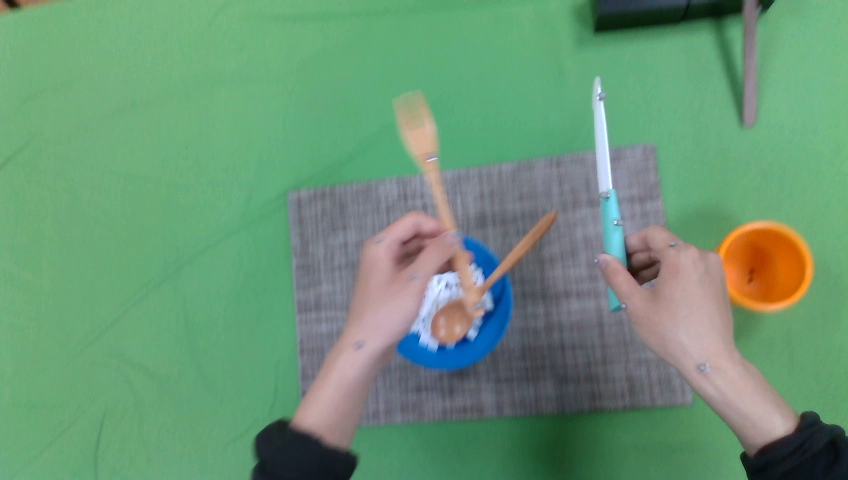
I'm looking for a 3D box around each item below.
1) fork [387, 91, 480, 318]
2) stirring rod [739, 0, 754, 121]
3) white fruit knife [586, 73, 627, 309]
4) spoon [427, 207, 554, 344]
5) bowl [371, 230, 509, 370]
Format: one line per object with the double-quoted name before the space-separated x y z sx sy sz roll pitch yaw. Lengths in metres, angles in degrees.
"fork" 0.010 -0.032 0.516 0.028 0.019 0.206 -17 78 -10
"stirring rod" 0.361 -0.223 0.676 0.014 0.006 0.177 -5 102 5
"white fruit knife" 0.155 -0.038 0.522 0.016 0.027 0.208 -11 99 -12
"spoon" 0.071 0.039 0.644 0.041 0.021 0.194 44 110 7
"bowl" 0.022 0.068 0.684 0.151 0.077 0.151 -1 82 9
